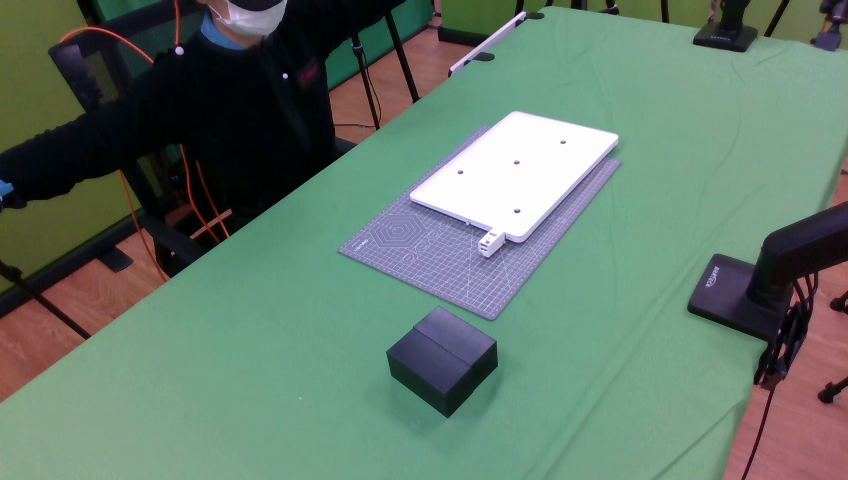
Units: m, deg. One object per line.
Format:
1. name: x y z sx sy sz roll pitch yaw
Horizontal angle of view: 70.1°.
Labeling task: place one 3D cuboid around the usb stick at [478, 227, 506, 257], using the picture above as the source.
1. usb stick: 0.109 -0.001 0.934 0.021 0.027 0.059 23 43 33

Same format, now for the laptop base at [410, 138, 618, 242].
1. laptop base: 0.170 -0.127 1.096 0.233 0.023 0.355 21 47 33

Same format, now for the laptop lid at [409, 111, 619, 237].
1. laptop lid: 0.167 -0.137 1.089 0.239 0.013 0.358 24 48 34
